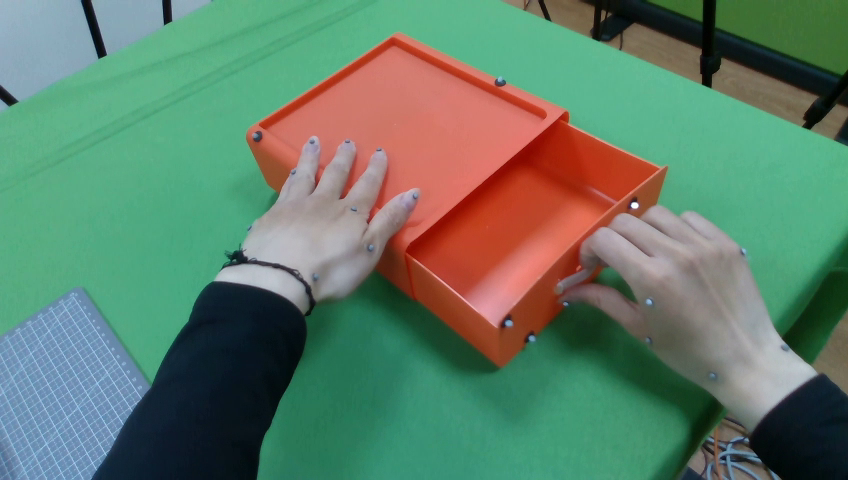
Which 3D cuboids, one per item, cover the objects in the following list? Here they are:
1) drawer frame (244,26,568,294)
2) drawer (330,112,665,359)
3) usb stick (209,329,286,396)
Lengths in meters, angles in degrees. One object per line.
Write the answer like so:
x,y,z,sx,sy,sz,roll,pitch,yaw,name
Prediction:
-0.015,-0.085,0.550,0.211,0.083,0.201,34,64,30,drawer frame
0.052,-0.037,0.505,0.194,0.074,0.210,-40,57,-22,drawer
-0.133,0.089,0.466,0.021,0.027,0.059,31,58,29,usb stick
